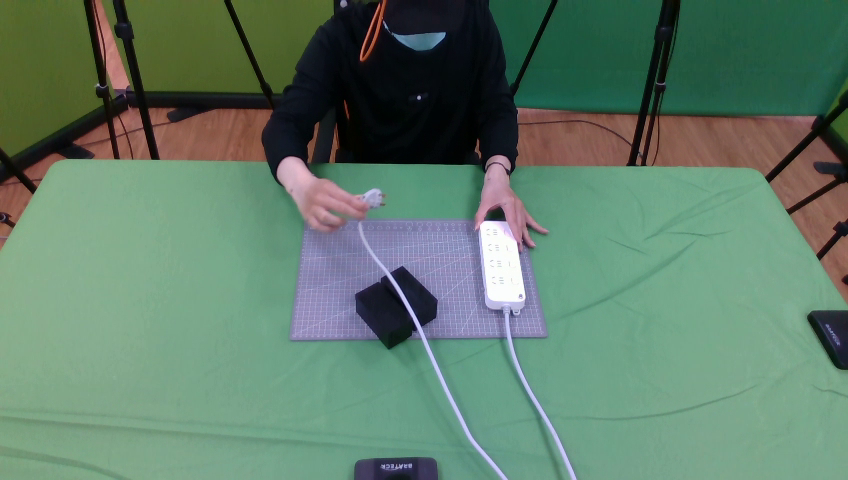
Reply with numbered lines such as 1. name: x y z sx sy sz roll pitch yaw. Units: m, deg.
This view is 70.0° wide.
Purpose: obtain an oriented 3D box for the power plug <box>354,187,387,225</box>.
1. power plug: -0.099 -0.063 1.096 0.053 0.073 0.035 4 38 -37

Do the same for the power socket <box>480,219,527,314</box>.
1. power socket: 0.148 0.042 1.151 0.072 0.033 0.225 1 46 -1
